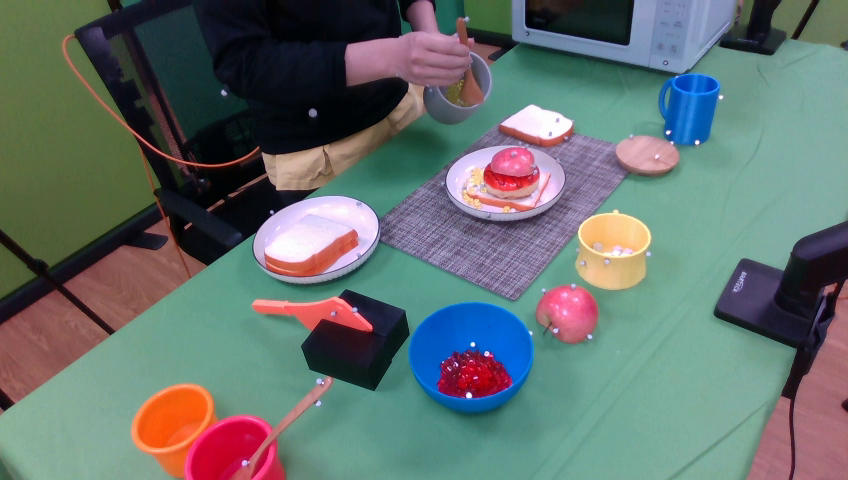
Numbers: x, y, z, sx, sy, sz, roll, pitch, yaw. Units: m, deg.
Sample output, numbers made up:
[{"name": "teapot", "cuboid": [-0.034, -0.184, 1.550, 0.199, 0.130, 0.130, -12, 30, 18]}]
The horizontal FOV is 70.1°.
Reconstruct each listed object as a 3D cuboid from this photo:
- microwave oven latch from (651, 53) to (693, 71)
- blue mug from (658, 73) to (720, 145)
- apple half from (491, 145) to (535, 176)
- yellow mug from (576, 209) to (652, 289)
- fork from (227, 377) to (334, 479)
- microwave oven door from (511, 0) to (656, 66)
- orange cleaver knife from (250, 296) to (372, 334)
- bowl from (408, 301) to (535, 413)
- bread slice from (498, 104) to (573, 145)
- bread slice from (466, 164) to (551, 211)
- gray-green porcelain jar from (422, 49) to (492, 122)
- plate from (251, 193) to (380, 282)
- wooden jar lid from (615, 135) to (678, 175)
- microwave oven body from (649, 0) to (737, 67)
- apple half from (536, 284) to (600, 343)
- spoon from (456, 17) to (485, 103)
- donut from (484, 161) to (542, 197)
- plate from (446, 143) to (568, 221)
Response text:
[{"name": "microwave oven latch", "cuboid": [0.532, -0.386, 1.301, 0.078, 0.029, 0.030, 27, 52, 34]}, {"name": "blue mug", "cuboid": [0.483, -0.250, 1.127, 0.082, 0.106, 0.115, -26, 44, -19]}, {"name": "apple half", "cuboid": [0.147, -0.138, 0.994, 0.081, 0.033, 0.081, 1, 36, 0]}, {"name": "yellow mug", "cuboid": [0.279, 0.004, 0.893, 0.099, 0.064, 0.130, 5, 42, 14]}, {"name": "fork", "cuboid": [-0.163, 0.216, 0.647, 0.207, 0.019, 0.028, -49, 41, 16]}, {"name": "microwave oven door", "cuboid": [0.351, -0.540, 1.349, 0.353, 0.245, 0.039, 24, 50, 31]}, {"name": "orange cleaver knife", "cuboid": [-0.159, 0.103, 0.828, 0.210, 0.078, 0.012, -4, 43, 39]}, {"name": "bowl", "cuboid": [0.059, 0.156, 0.739, 0.151, 0.077, 0.150, -4, 40, 4]}, {"name": "bread slice", "cuboid": [0.231, -0.231, 1.205, 0.105, 0.019, 0.130, -36, 47, -29]}, {"name": "bread slice", "cuboid": [0.141, -0.092, 1.042, 0.133, 0.018, 0.107, 11, 43, 18]}, {"name": "gray-green porcelain jar", "cuboid": [0.056, -0.279, 1.114, 0.106, 0.106, 0.126, -18, 1, -12]}, {"name": "plate", "cuboid": [-0.174, -0.001, 0.984, 0.209, 0.038, 0.208, -4, 41, 4]}, {"name": "wooden jar lid", "cuboid": [0.398, -0.151, 1.086, 0.108, 0.021, 0.108, -1, 42, 2]}, {"name": "microwave oven body", "cuboid": [0.475, -0.602, 1.411, 0.438, 0.261, 0.327, 23, 50, 32]}, {"name": "apple half", "cuboid": [0.196, 0.091, 0.815, 0.075, 0.053, 0.080, -22, 42, -20]}, {"name": "spoon", "cuboid": [0.065, -0.266, 0.916, 0.041, 0.195, 0.021, 9, 65, 15]}, {"name": "donut", "cuboid": [0.149, -0.109, 1.016, 0.099, 0.048, 0.098, -4, 39, 4]}, {"name": "plate", "cuboid": [0.142, -0.097, 1.045, 0.207, 0.039, 0.206, -4, 40, 4]}]
